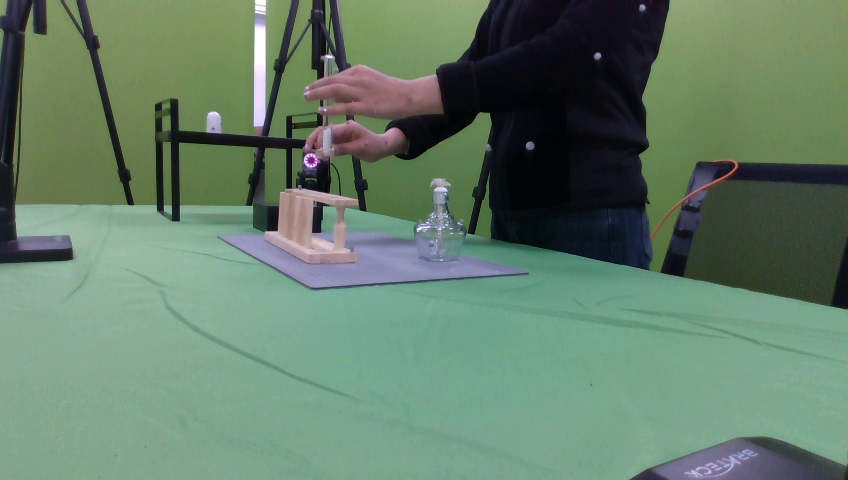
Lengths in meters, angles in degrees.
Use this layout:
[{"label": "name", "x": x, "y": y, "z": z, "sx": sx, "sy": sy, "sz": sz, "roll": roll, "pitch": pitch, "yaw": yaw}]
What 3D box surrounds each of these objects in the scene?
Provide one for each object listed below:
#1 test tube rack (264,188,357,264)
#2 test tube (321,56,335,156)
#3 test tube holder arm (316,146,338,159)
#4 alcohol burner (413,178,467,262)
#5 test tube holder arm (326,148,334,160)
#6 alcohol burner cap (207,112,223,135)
[{"label": "test tube rack", "x": -0.175, "y": -0.027, "z": 0.890, "sx": 0.067, "sy": 0.085, "sz": 0.241, "roll": -2, "pitch": 9, "yaw": -28}, {"label": "test tube", "x": -0.148, "y": -0.205, "z": 0.930, "sx": 0.017, "sy": 0.150, "sz": 0.017, "roll": 4, "pitch": 12, "yaw": 0}, {"label": "test tube holder arm", "x": -0.162, "y": -0.149, "z": 1.016, "sx": 0.013, "sy": 0.015, "sz": 0.178, "roll": 9, "pitch": 11, "yaw": -3}, {"label": "alcohol burner", "x": 0.022, "y": -0.029, "z": 0.864, "sx": 0.078, "sy": 0.119, "sz": 0.078, "roll": 1, "pitch": 6, "yaw": 0}, {"label": "test tube holder arm", "x": -0.152, "y": -0.139, "z": 0.973, "sx": 0.010, "sy": 0.015, "sz": 0.087, "roll": 6, "pitch": 11, "yaw": -13}, {"label": "alcohol burner cap", "x": -0.440, "y": -0.245, "z": 1.271, "sx": 0.034, "sy": 0.048, "sz": 0.034, "roll": 2, "pitch": 8, "yaw": 0}]
